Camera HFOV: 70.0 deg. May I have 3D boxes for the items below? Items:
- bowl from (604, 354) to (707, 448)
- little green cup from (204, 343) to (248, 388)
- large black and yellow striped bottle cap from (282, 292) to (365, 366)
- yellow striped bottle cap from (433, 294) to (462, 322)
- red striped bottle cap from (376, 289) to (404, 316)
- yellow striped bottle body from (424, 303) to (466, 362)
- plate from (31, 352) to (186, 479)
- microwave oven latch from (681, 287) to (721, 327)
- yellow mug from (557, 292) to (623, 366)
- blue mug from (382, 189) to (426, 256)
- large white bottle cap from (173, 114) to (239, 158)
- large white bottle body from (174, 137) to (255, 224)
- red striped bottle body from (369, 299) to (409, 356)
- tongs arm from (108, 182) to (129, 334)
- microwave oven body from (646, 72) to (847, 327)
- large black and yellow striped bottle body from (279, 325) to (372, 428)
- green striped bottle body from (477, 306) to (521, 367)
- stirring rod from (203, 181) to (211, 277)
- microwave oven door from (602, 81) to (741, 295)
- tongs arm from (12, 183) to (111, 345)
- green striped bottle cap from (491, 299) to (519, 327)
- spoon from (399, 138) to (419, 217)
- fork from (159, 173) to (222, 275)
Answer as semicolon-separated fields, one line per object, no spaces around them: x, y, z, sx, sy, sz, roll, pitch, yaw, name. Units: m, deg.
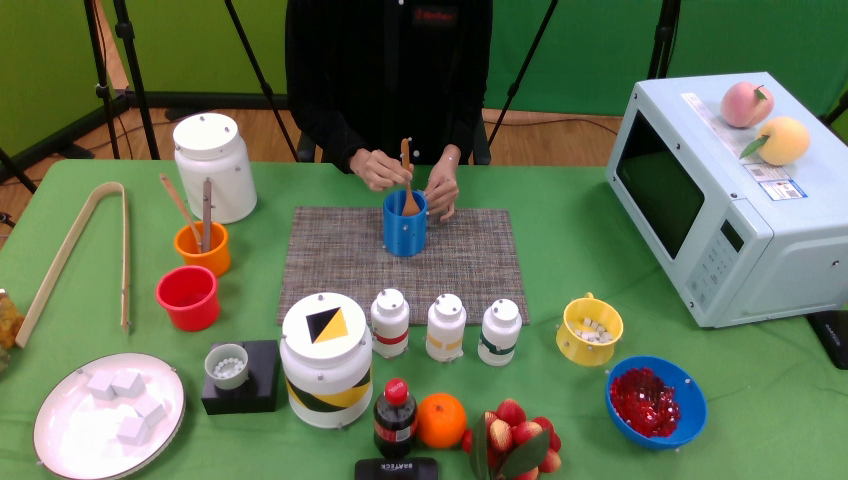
0.346;0.261;0.937;0.151;0.077;0.150;2;46;-2;bowl
-0.294;0.190;0.909;0.061;0.039;0.061;1;48;-1;little green cup
-0.138;0.121;0.841;0.115;0.019;0.114;3;47;-3;large black and yellow striped bottle cap
0.037;0.107;0.958;0.044;0.019;0.044;2;45;-2;yellow striped bottle cap
-0.054;0.098;0.958;0.044;0.018;0.044;0;48;0;red striped bottle cap
0.035;0.143;0.995;0.063;0.121;0.062;3;46;-3;yellow striped bottle body
-0.459;0.262;0.898;0.209;0.038;0.208;2;45;-2;plate
0.494;0.119;1.087;0.030;0.029;0.078;-6;46;-9;microwave oven latch
0.285;0.145;1.051;0.100;0.064;0.130;7;45;4;yellow mug
-0.031;-0.042;1.174;0.082;0.106;0.116;26;50;20;blue mug
-0.403;-0.195;1.122;0.115;0.018;0.114;2;47;-2;large white bottle cap
-0.408;-0.136;1.183;0.131;0.185;0.130;2;46;-2;large white bottle body
-0.058;0.134;0.997;0.063;0.120;0.062;4;47;-4;red striped bottle body
-0.571;0.019;1.123;0.051;0.026;0.382;-11;47;-11;tongs arm
0.607;-0.089;1.164;0.326;0.261;0.438;-7;46;-10;microwave oven body
-0.143;0.181;0.900;0.131;0.185;0.130;2;46;-2;large black and yellow striped bottle body
0.124;0.151;0.995;0.063;0.120;0.063;2;46;-2;green striped bottle body
-0.396;-0.021;1.107;0.014;0.006;0.176;-1;89;-1;stirring rod
0.456;-0.107;1.162;0.039;0.245;0.353;-7;47;-11;microwave oven door
-0.657;0.027;1.109;0.028;0.028;0.385;-2;45;1;tongs arm
0.128;0.115;0.958;0.044;0.020;0.044;1;46;-1;green striped bottle cap
-0.032;-0.098;1.088;0.041;0.195;0.021;-9;37;-7;spoon
-0.427;-0.029;1.103;0.028;0.018;0.207;-31;99;-31;fork
